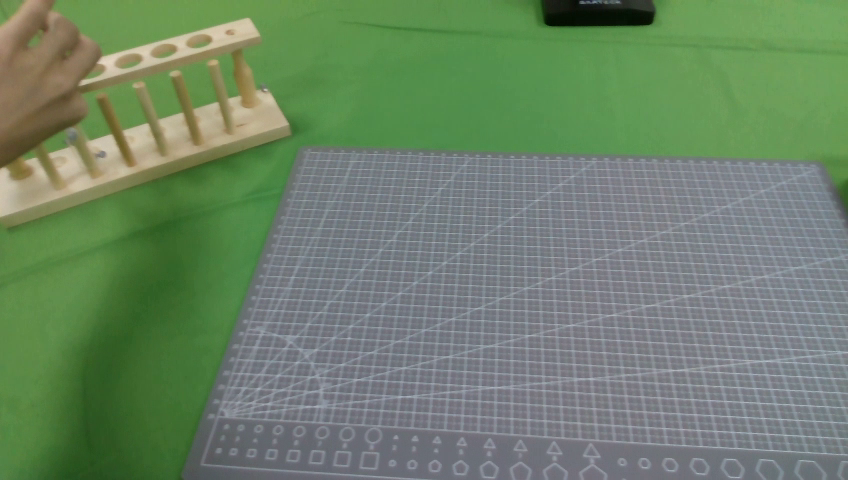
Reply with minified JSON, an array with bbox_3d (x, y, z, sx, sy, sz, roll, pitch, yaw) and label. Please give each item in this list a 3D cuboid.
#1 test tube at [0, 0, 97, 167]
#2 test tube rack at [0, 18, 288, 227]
[{"bbox_3d":[-0.276,-0.114,0.445,0.017,0.151,0.017,1,49,-1],"label":"test tube"},{"bbox_3d":[-0.248,-0.103,0.511,0.243,0.086,0.066,-22,52,-17],"label":"test tube rack"}]
